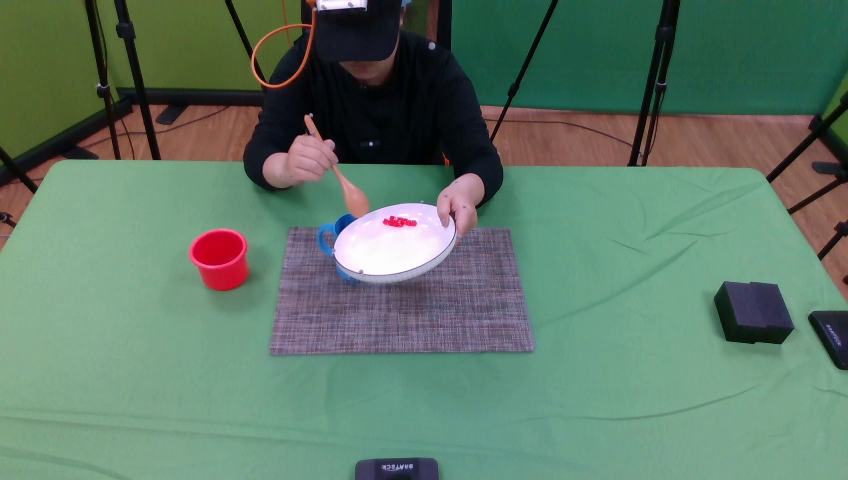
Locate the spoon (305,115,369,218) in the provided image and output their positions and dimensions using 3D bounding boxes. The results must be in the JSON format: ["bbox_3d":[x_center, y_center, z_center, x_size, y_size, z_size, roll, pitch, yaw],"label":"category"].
[{"bbox_3d":[-0.151,-0.124,1.028,0.041,0.021,0.194,-35,97,-26],"label":"spoon"}]

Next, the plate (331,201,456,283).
[{"bbox_3d":[-0.048,0.006,1.000,0.207,0.039,0.206,-8,34,6],"label":"plate"}]

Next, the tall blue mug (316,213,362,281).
[{"bbox_3d":[-0.142,0.014,1.109,0.107,0.108,0.077,-5,48,-9],"label":"tall blue mug"}]
